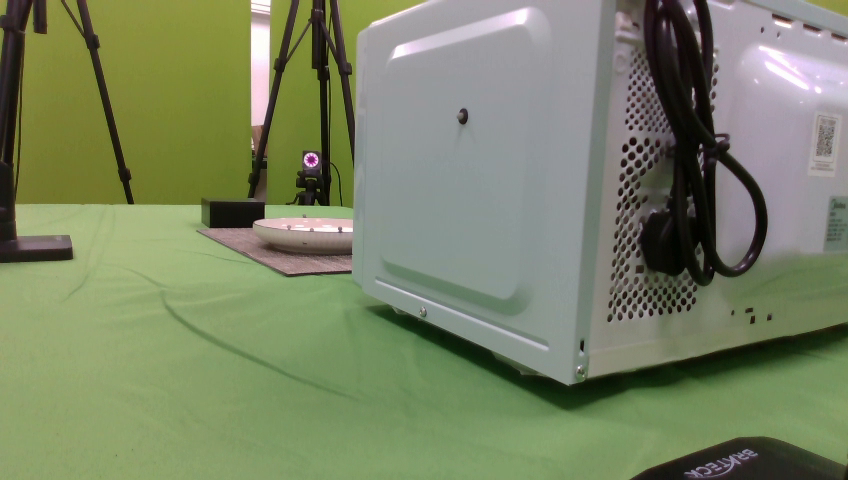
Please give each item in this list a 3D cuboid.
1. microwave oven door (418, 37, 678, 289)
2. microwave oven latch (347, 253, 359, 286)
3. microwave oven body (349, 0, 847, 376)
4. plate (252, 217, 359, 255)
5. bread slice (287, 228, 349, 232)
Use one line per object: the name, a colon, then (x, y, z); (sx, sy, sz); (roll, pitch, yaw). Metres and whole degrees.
microwave oven door: (0.159, -0.078, 0.684); (0.358, 0.243, 0.039); (-2, 9, -32)
microwave oven latch: (-0.034, 0.028, 0.581); (0.079, 0.029, 0.030); (-1, 7, -32)
microwave oven body: (0.199, -0.053, 0.540); (0.444, 0.260, 0.324); (-1, 7, -32)
plate: (-0.155, -0.007, 0.924); (0.209, 0.038, 0.209); (3, 7, 0)
bread slice: (-0.153, -0.005, 0.921); (0.132, 0.019, 0.104); (0, 7, -30)
